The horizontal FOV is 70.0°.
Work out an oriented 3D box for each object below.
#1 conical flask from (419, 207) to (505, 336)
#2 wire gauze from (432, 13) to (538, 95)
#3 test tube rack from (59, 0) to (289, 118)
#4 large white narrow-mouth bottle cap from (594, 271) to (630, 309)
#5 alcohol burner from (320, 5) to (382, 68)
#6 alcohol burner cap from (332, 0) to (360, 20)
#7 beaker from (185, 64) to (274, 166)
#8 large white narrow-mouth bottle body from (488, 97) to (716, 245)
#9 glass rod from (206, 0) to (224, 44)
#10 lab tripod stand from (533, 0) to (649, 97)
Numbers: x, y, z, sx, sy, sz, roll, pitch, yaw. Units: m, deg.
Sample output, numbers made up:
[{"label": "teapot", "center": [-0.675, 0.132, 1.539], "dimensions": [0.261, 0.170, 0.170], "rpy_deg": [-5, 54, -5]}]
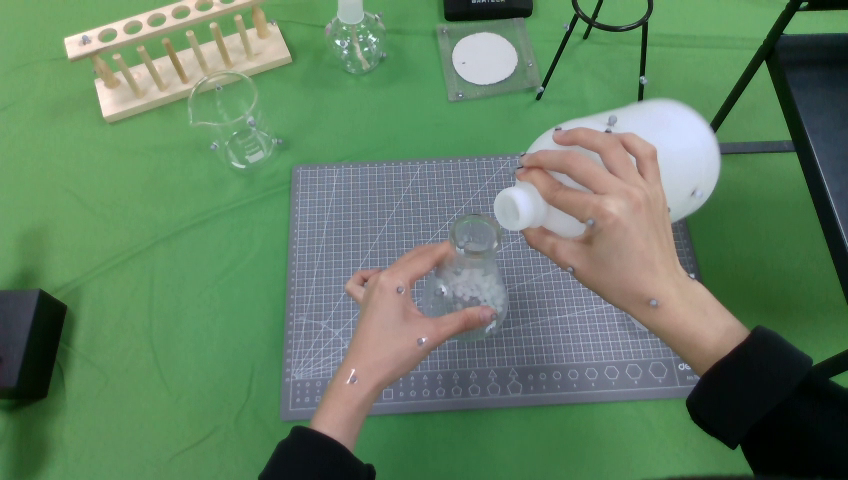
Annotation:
[{"label": "conical flask", "center": [0.033, 0.021, 0.479], "dimensions": [0.075, 0.123, 0.074], "rpy_deg": [1, 60, -1]}, {"label": "wire gauze", "center": [0.078, -0.247, 0.791], "dimensions": [0.121, 0.011, 0.124], "rpy_deg": [-7, 65, -4]}, {"label": "test tube rack", "center": [-0.302, -0.240, 0.750], "dimensions": [0.242, 0.086, 0.066], "rpy_deg": [-22, 67, -9]}, {"label": "large white narrow-mouth bottle cap", "center": [0.200, 0.054, 0.645], "dimensions": [0.038, 0.024, 0.037], "rpy_deg": [-1, 65, 3]}, {"label": "alcohol burner", "center": [-0.091, -0.271, 0.747], "dimensions": [0.078, 0.120, 0.077], "rpy_deg": [0, 63, 0]}, {"label": "alcohol burner cap", "center": [-0.092, -0.289, 0.715], "dimensions": [0.034, 0.048, 0.033], "rpy_deg": [4, 64, -7]}, {"label": "beaker", "center": [-0.220, -0.136, 0.694], "dimensions": [0.073, 0.101, 0.084], "rpy_deg": [41, 72, 18]}, {"label": "large white narrow-mouth bottle body", "center": [0.132, -0.050, 0.471], "dimensions": [0.195, 0.102, 0.101], "rpy_deg": [-18, 63, -32]}, {"label": "glass rod", "center": [-0.257, -0.303, 0.705], "dimensions": [0.008, 0.201, 0.008], "rpy_deg": [2, 63, -3]}, {"label": "lab tripod stand", "center": [0.207, -0.242, 0.719], "dimensions": [0.148, 0.132, 0.147], "rpy_deg": [1, 64, -1]}]
